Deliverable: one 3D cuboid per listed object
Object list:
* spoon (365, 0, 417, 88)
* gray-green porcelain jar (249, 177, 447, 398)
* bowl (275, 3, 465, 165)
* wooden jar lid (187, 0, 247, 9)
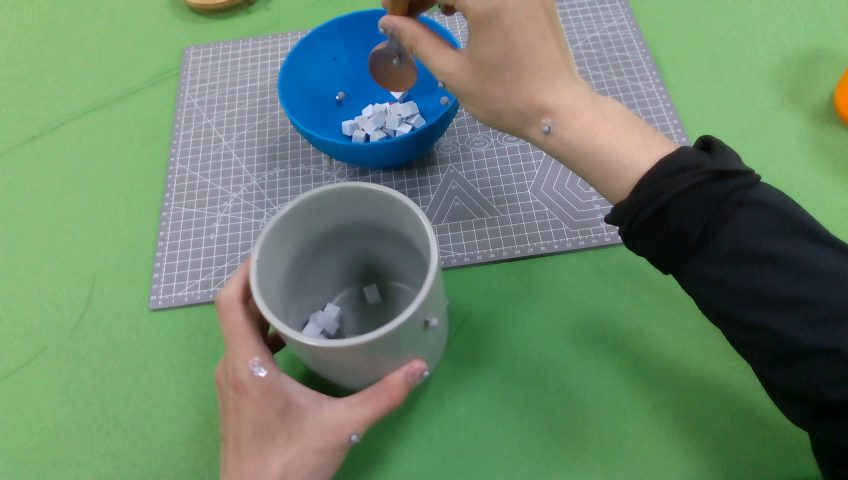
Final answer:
[{"bbox_3d":[-0.019,-0.143,0.404,0.042,0.193,0.021,18,85,-4],"label":"spoon"},{"bbox_3d":[-0.039,0.038,0.386,0.106,0.127,0.105,-2,60,5],"label":"gray-green porcelain jar"},{"bbox_3d":[-0.039,-0.116,0.506,0.151,0.077,0.150,-2,59,4],"label":"bowl"},{"bbox_3d":[-0.222,-0.291,0.664,0.108,0.021,0.107,-1,60,3],"label":"wooden jar lid"}]
